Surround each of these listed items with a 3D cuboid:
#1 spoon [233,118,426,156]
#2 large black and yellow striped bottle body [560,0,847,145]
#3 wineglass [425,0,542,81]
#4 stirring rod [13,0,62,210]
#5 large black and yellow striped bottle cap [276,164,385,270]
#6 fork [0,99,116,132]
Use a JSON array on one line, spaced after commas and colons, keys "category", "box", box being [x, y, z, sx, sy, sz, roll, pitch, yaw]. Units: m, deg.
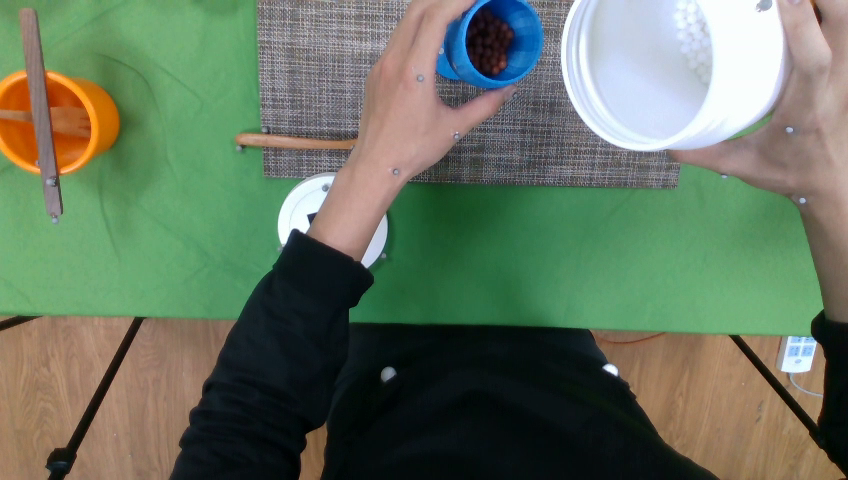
[{"category": "spoon", "box": [-0.095, -0.106, 0.611, 0.194, 0.021, 0.042, 0, 127, -6]}, {"category": "large black and yellow striped bottle body", "box": [0.191, -0.141, 0.401, 0.184, 0.130, 0.131, -25, 110, -31]}, {"category": "wineglass", "box": [0.044, -0.176, 0.524, 0.074, 0.171, 0.074, -3, 107, -8]}, {"category": "stirring rod", "box": [-0.330, -0.112, 0.518, 0.014, 0.006, 0.177, 0, 107, -5]}, {"category": "large black and yellow striped bottle cap", "box": [-0.098, -0.023, 0.643, 0.115, 0.018, 0.115, -2, 111, -6]}, {"category": "fork", "box": [-0.372, -0.116, 0.516, 0.208, 0.018, 0.028, -1, 120, -51]}]
